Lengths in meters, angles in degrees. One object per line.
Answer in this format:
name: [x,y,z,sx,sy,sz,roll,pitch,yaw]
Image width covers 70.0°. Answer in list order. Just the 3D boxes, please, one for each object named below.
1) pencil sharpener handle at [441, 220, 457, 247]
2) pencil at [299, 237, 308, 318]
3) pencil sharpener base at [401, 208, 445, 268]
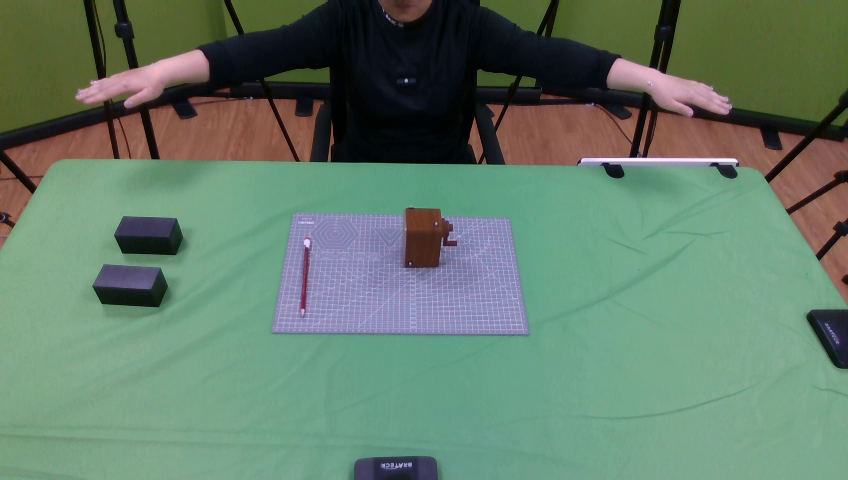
pencil sharpener handle: [0.049,-0.012,1.132,0.031,0.068,0.036,0,46,-5]
pencil: [-0.223,0.066,1.120,0.012,0.012,0.192,-1,47,-6]
pencil sharpener base: [-0.003,-0.003,1.137,0.077,0.107,0.061,0,45,-5]
